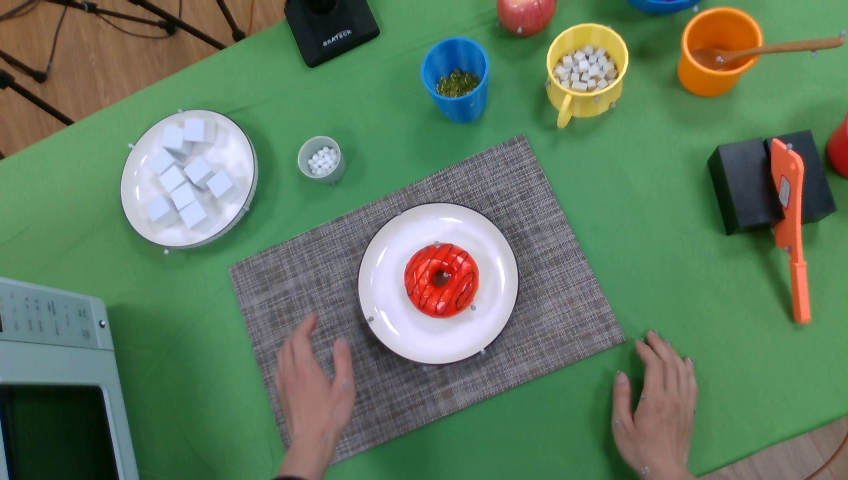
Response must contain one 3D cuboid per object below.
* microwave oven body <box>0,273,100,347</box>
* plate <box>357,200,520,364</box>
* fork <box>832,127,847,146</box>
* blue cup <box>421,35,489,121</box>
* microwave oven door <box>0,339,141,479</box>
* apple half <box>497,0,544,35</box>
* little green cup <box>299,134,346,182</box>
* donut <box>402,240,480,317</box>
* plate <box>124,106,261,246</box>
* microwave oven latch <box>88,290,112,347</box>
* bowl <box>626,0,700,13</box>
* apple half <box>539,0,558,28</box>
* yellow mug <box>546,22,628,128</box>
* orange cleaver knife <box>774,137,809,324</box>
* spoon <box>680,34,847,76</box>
[{"bbox_3d":[-0.553,0.301,0.708,0.326,0.262,0.439,-21,75,5],"label":"microwave oven body"},{"bbox_3d":[0.019,0.053,0.770,0.209,0.038,0.208,-2,77,11],"label":"plate"},{"bbox_3d":[0.553,-0.107,0.650,0.028,0.019,0.205,-50,30,-13],"label":"fork"},{"bbox_3d":[0.047,-0.203,0.793,0.092,0.101,0.092,-2,79,10],"label":"blue cup"},{"bbox_3d":[-0.406,0.287,0.677,0.039,0.245,0.353,-21,74,5],"label":"microwave oven door"},{"bbox_3d":[0.126,-0.314,0.818,0.053,0.075,0.080,-19,78,10],"label":"apple half"},{"bbox_3d":[-0.138,-0.111,0.841,0.061,0.039,0.061,-3,77,11],"label":"little green cup"},{"bbox_3d":[0.021,0.048,0.759,0.099,0.048,0.098,-3,78,12],"label":"donut"},{"bbox_3d":[-0.329,-0.090,0.873,0.207,0.039,0.206,-2,77,11],"label":"plate"},{"bbox_3d":[-0.454,0.110,0.833,0.030,0.030,0.078,-18,75,6],"label":"microwave oven latch"},{"bbox_3d":[0.313,-0.353,0.787,0.151,0.077,0.150,-2,78,11],"label":"bowl"},{"bbox_3d":[0.162,-0.327,0.812,0.033,0.082,0.081,-18,74,9],"label":"apple half"},{"bbox_3d":[0.202,-0.205,0.782,0.099,0.064,0.130,24,84,15],"label":"yellow mug"},{"bbox_3d":[0.415,-0.010,0.688,0.012,0.077,0.212,-9,105,11],"label":"orange cleaver knife"},{"bbox_3d":[0.386,-0.219,0.706,0.022,0.192,0.041,30,82,-28],"label":"spoon"}]
